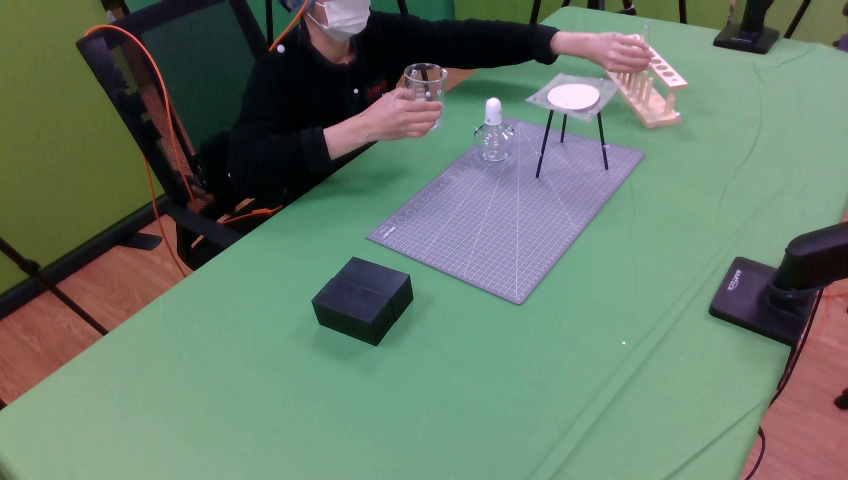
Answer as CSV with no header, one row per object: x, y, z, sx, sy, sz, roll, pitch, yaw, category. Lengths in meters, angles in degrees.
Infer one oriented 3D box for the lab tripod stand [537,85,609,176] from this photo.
0.259,-0.192,1.068,0.148,0.132,0.147,-4,42,4,lab tripod stand

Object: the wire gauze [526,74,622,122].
0.255,-0.248,1.030,0.124,0.011,0.122,24,51,32,wire gauze

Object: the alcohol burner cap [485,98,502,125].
0.126,-0.234,1.097,0.034,0.048,0.033,-3,39,3,alcohol burner cap

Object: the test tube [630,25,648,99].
0.427,-0.352,1.200,0.017,0.151,0.017,-4,40,3,test tube

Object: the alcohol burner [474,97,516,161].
0.130,-0.208,1.121,0.078,0.119,0.077,-6,40,5,alcohol burner

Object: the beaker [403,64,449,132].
0.003,-0.252,1.077,0.084,0.100,0.073,-16,44,-21,beaker

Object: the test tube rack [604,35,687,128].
0.447,-0.330,1.241,0.067,0.085,0.241,-9,41,-2,test tube rack
